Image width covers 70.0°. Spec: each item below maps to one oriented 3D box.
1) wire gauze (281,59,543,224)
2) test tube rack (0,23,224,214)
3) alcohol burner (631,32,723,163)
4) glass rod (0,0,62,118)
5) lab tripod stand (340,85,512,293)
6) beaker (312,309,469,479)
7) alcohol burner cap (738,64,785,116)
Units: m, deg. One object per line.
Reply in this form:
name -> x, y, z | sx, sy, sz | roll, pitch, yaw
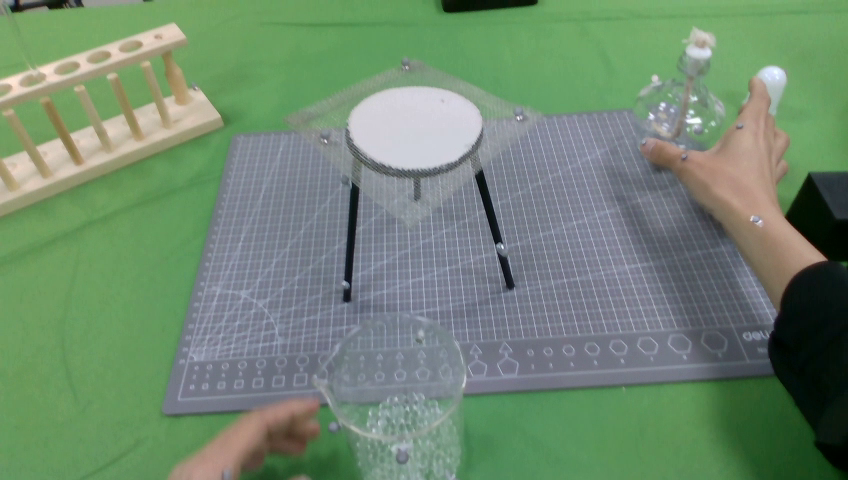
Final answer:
wire gauze -> -0.008, -0.074, 0.386 | 0.121, 0.011, 0.124 | -36, 56, -27
test tube rack -> -0.323, -0.112, 0.561 | 0.242, 0.086, 0.066 | -28, 53, -20
alcohol burner -> 0.222, -0.126, 0.523 | 0.078, 0.120, 0.077 | -1, 50, 1
glass rod -> -0.336, -0.155, 0.511 | 0.008, 0.201, 0.008 | 2, 48, -2
lab tripod stand -> -0.001, -0.032, 0.439 | 0.148, 0.133, 0.147 | 0, 48, 1
beaker -> -0.016, 0.099, 0.352 | 0.084, 0.101, 0.073 | -1, 48, 3
alcohol burner cap -> 0.331, -0.149, 0.590 | 0.034, 0.048, 0.033 | -1, 48, 2
